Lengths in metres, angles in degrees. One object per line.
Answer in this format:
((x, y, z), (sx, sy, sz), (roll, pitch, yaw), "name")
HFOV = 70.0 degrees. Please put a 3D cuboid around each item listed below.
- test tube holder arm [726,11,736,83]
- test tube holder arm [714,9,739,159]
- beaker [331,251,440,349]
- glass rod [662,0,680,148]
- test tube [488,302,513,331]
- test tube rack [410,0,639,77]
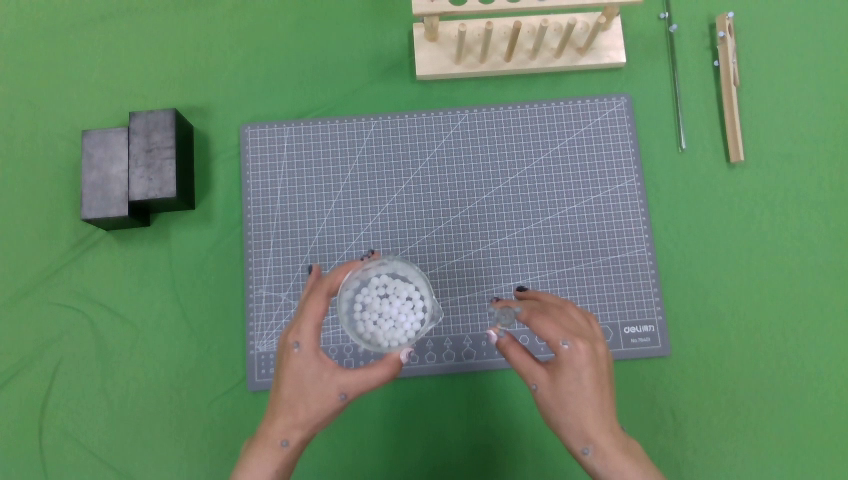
((0.352, -0.223, 0.705), (0.010, 0.015, 0.087), (8, 78, -28), "test tube holder arm")
((0.346, -0.180, 0.694), (0.013, 0.015, 0.177), (7, 78, -28), "test tube holder arm")
((-0.030, 0.054, 0.503), (0.084, 0.100, 0.073), (12, 80, -1), "beaker")
((0.287, -0.203, 0.706), (0.008, 0.008, 0.199), (0, 79, 0), "glass rod")
((0.065, 0.069, 0.528), (0.017, 0.151, 0.017), (-1, 79, 5), "test tube")
((0.107, -0.238, 0.675), (0.242, 0.085, 0.066), (-4, 79, -1), "test tube rack")
